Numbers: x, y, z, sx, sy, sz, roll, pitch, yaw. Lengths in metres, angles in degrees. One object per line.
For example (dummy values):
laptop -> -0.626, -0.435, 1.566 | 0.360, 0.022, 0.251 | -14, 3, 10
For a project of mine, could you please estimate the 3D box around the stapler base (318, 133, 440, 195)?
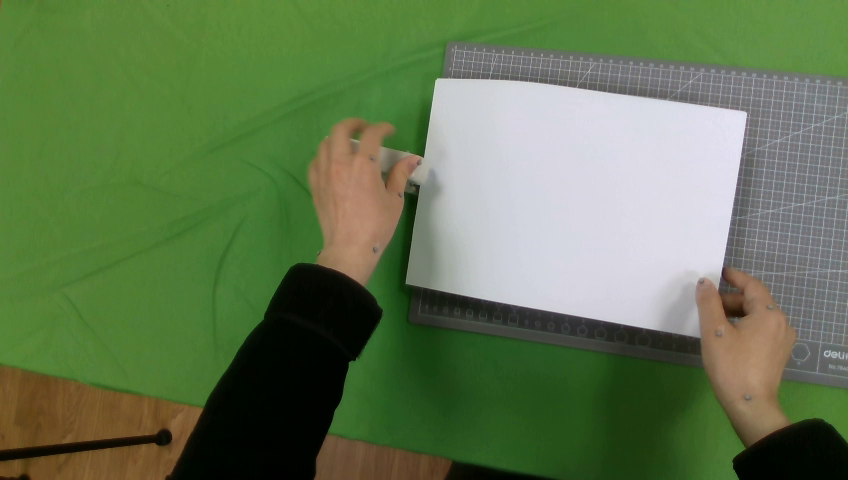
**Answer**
stapler base -> -0.050, -0.081, 0.633 | 0.130, 0.024, 0.041 | 15, 87, 10

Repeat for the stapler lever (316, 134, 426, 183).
stapler lever -> -0.056, -0.083, 0.608 | 0.118, 0.040, 0.027 | 15, 87, 10
